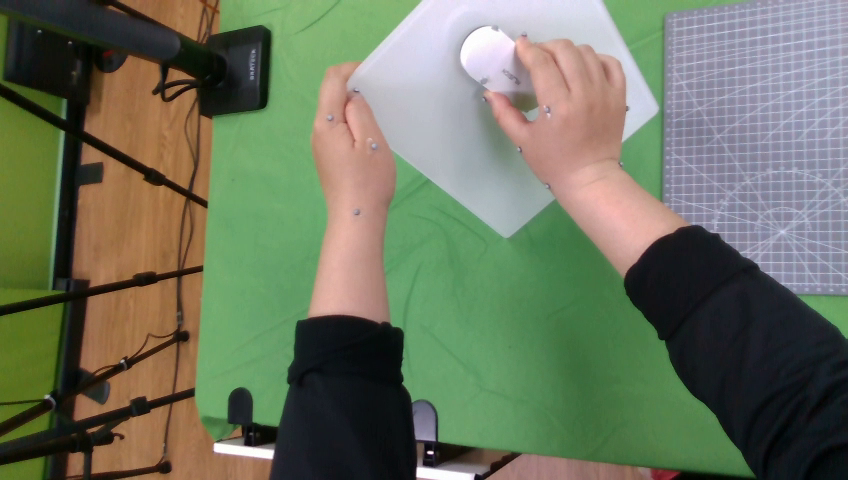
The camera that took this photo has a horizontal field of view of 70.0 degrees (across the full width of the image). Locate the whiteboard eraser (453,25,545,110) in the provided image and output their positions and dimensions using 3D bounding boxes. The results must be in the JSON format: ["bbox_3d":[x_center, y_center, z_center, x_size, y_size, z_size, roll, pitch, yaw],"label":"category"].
[{"bbox_3d":[0.063,-0.142,0.503,0.041,0.102,0.018,-47,47,21],"label":"whiteboard eraser"}]

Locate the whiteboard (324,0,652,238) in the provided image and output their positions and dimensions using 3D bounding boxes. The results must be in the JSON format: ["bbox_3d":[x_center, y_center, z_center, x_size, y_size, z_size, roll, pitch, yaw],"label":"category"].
[{"bbox_3d":[0.056,-0.172,0.605,0.217,0.308,0.142,-42,51,15],"label":"whiteboard"}]
